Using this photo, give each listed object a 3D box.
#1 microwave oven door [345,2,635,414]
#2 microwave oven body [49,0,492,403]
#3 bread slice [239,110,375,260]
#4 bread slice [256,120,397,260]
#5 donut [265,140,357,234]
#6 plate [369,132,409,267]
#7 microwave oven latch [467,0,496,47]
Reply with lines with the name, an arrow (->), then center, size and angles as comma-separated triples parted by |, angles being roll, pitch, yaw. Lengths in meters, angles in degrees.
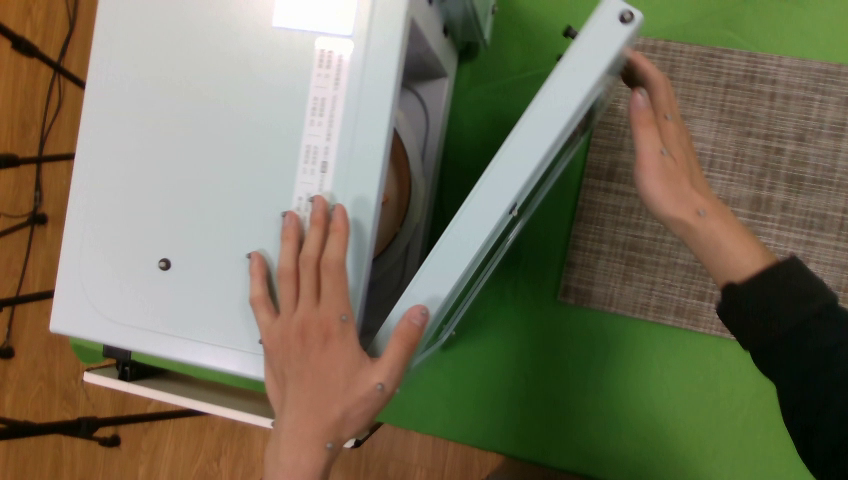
microwave oven door -> 0.066, -0.017, 0.560 | 0.039, 0.244, 0.356 | 34, 96, 11
microwave oven body -> -0.130, -0.109, 0.604 | 0.325, 0.261, 0.441 | 10, 92, 11
bread slice -> -0.126, -0.060, 0.599 | 0.105, 0.019, 0.131 | -33, 86, 11
bread slice -> -0.114, -0.059, 0.655 | 0.107, 0.018, 0.134 | -43, 94, -1
donut -> -0.117, -0.055, 0.625 | 0.099, 0.048, 0.099 | 0, 89, 8
plate -> -0.115, -0.053, 0.655 | 0.207, 0.039, 0.207 | 0, 90, 10
microwave oven latch -> 0.063, -0.256, 0.665 | 0.030, 0.029, 0.079 | 11, 92, 11
